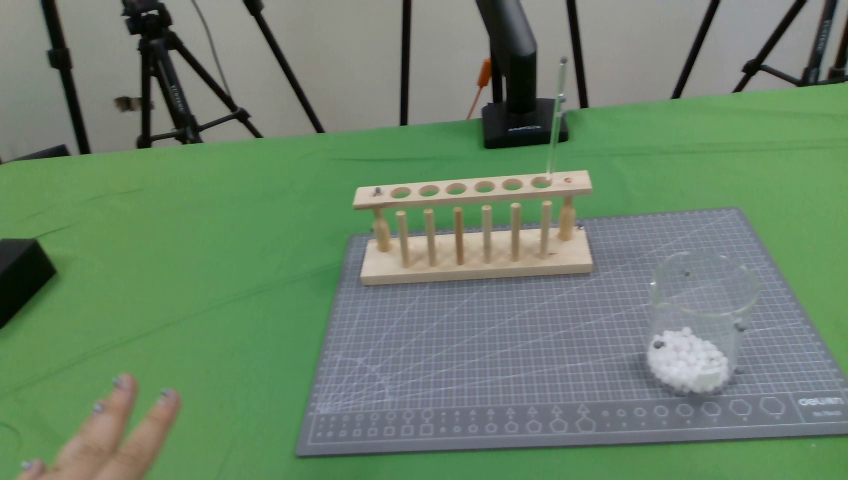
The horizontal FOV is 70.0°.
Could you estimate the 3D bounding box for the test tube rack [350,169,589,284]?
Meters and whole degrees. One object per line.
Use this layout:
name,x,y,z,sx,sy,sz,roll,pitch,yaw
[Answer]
test tube rack,0.048,-0.012,0.637,0.242,0.086,0.066,-4,38,6

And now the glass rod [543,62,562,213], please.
glass rod,0.124,-0.078,0.598,0.008,0.201,0.008,-2,39,2

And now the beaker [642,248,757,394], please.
beaker,0.214,0.069,0.488,0.084,0.101,0.073,-16,38,-8
